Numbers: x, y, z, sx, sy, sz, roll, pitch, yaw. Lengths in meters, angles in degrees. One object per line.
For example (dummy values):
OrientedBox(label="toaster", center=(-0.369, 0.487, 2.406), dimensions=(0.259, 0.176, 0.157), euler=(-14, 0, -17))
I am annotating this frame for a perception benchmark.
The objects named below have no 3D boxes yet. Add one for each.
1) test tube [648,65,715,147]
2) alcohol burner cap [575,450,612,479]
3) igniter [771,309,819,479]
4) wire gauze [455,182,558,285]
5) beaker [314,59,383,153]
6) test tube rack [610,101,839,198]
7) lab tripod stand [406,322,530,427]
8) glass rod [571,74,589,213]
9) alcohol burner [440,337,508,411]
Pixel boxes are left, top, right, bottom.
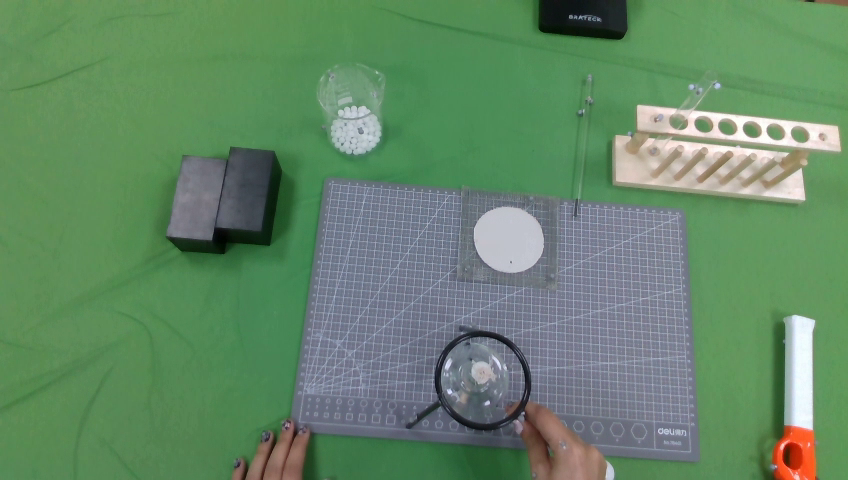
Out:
OrientedBox(label="test tube", center=(0.293, -0.149, 0.699), dimensions=(0.017, 0.151, 0.017), euler=(1, 69, -2))
OrientedBox(label="alcohol burner cap", center=(0.183, 0.241, 0.644), dimensions=(0.034, 0.048, 0.033), euler=(1, 71, -2))
OrientedBox(label="igniter", center=(0.413, 0.213, 0.673), dimensions=(0.057, 0.025, 0.275), euler=(15, 72, -9))
OrientedBox(label="wire gauze", center=(0.100, -0.010, 0.733), dimensions=(0.125, 0.011, 0.120), euler=(6, 71, 0))
OrientedBox(label="beaker", center=(-0.085, -0.157, 0.723), dimensions=(0.084, 0.101, 0.073), euler=(-33, 77, -13))
OrientedBox(label="test tube rack", center=(0.362, -0.109, 0.742), dimensions=(0.242, 0.085, 0.066), euler=(5, 72, -2))
OrientedBox(label="lab tripod stand", center=(0.047, 0.141, 0.614), dimensions=(0.148, 0.132, 0.147), euler=(1, 70, -3))
OrientedBox(label="glass rod", center=(0.201, -0.127, 0.777), dimensions=(0.008, 0.008, 0.198), euler=(10, 73, 0))
OrientedBox(label="alcohol burner", center=(0.051, 0.136, 0.628), dimensions=(0.078, 0.119, 0.077), euler=(2, 71, -5))
